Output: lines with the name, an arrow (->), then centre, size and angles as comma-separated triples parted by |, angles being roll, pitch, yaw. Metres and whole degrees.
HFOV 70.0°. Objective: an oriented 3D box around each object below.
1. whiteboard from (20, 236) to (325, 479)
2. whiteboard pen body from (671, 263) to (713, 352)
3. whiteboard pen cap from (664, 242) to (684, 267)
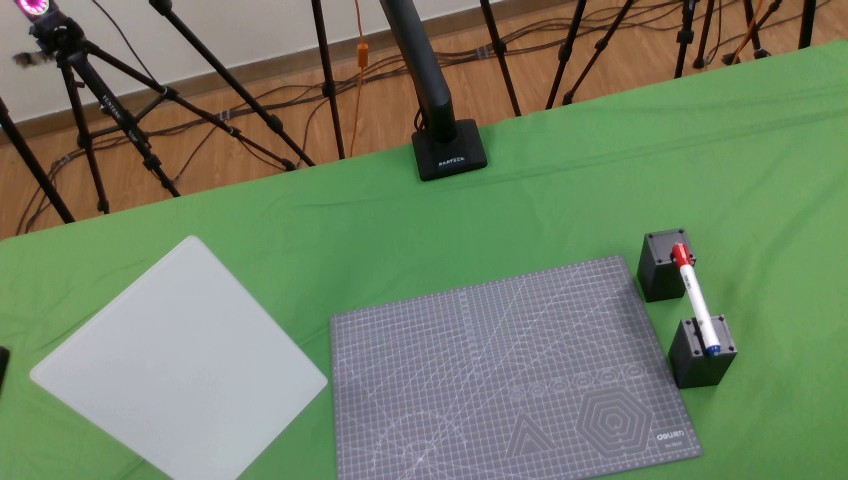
whiteboard -> -0.314, 0.154, 0.779 | 0.217, 0.309, 0.142 | -46, 40, -19
whiteboard pen body -> 0.318, 0.070, 0.729 | 0.017, 0.017, 0.139 | -8, 54, 6
whiteboard pen cap -> 0.315, 0.020, 0.762 | 0.017, 0.017, 0.032 | -6, 56, 7
